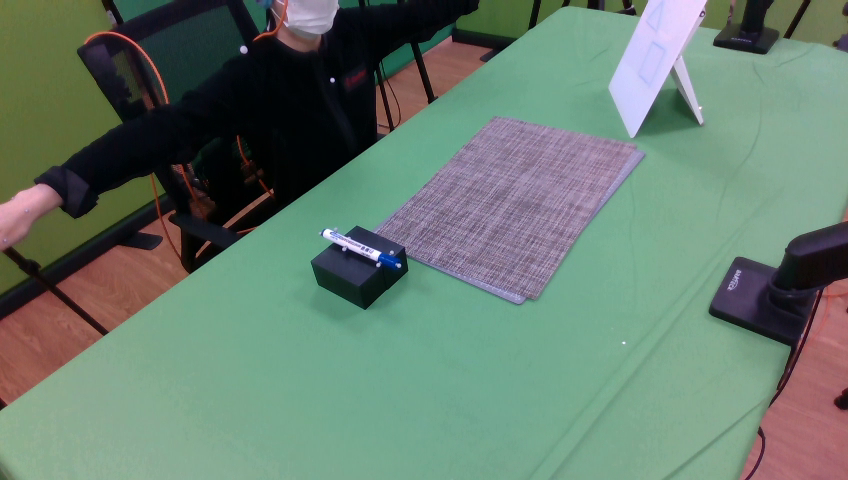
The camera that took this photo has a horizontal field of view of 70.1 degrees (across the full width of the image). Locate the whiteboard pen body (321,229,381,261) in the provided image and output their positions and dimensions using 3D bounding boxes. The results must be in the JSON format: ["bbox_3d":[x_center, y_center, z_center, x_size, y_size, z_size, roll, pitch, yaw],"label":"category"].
[{"bbox_3d":[-0.100,0.010,0.901,0.139,0.017,0.017,22,48,30],"label":"whiteboard pen body"}]

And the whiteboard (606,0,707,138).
[{"bbox_3d":[0.496,-0.359,1.147,0.144,0.305,0.216,11,40,-7],"label":"whiteboard"}]

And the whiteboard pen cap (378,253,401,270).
[{"bbox_3d":[-0.051,0.030,0.870,0.033,0.018,0.018,21,48,28],"label":"whiteboard pen cap"}]
